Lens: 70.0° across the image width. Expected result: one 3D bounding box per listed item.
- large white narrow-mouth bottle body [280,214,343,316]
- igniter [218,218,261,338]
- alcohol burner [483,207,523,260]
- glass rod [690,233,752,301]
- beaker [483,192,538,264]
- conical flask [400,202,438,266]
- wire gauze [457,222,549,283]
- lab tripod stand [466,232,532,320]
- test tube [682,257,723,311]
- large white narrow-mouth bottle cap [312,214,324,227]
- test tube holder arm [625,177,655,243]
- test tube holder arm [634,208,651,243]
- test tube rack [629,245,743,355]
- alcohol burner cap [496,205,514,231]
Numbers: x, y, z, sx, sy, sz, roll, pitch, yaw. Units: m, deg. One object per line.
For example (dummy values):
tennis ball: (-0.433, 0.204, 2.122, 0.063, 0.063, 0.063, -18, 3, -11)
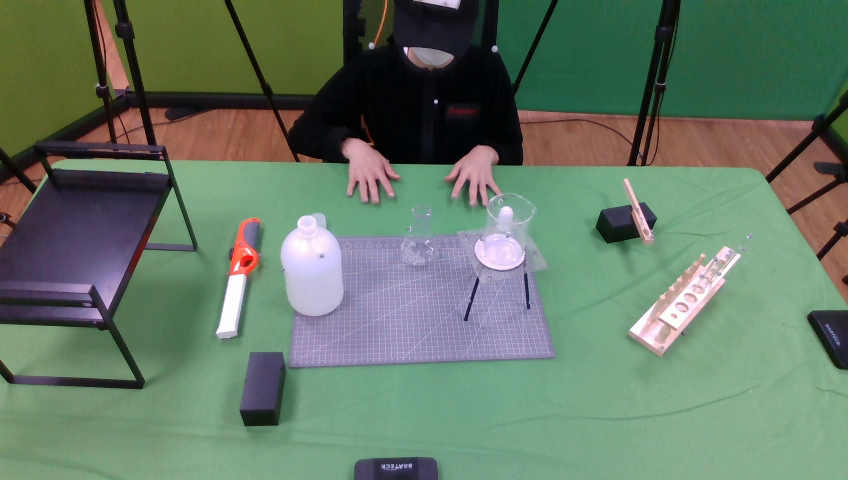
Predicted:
large white narrow-mouth bottle body: (-0.190, 0.035, 1.025, 0.102, 0.195, 0.101, 2, 46, -2)
igniter: (-0.336, 0.060, 1.111, 0.057, 0.025, 0.274, -8, 46, 4)
alcohol burner: (0.152, -0.018, 1.156, 0.078, 0.120, 0.077, 0, 47, 0)
glass rod: (0.507, 0.053, 1.041, 0.008, 0.200, 0.008, 5, 51, -6)
beaker: (0.136, -0.017, 0.980, 0.084, 0.101, 0.073, -6, 45, -9)
conical flask: (-0.007, -0.014, 1.135, 0.075, 0.122, 0.075, 2, 46, -2)
wire gauze: (0.131, 0.016, 1.017, 0.121, 0.011, 0.124, -10, 44, -15)
lab tripod stand: (0.125, 0.059, 1.065, 0.148, 0.132, 0.147, 1, 45, 0)
test tube: (0.474, 0.080, 1.037, 0.017, 0.151, 0.017, 1, 50, -1)
large white narrow-mouth bottle cap: (-0.219, -0.033, 1.214, 0.038, 0.024, 0.037, 2, 46, -2)
test tube holder arm: (0.433, -0.063, 1.220, 0.013, 0.015, 0.177, 1, 47, -3)
test tube holder arm: (0.428, -0.030, 1.189, 0.010, 0.015, 0.087, 2, 47, -2)
test tube rack: (0.474, 0.095, 1.091, 0.242, 0.085, 0.066, -34, 56, -31)
alcohol burner cap: (0.153, -0.045, 1.131, 0.034, 0.048, 0.033, 2, 40, -1)
